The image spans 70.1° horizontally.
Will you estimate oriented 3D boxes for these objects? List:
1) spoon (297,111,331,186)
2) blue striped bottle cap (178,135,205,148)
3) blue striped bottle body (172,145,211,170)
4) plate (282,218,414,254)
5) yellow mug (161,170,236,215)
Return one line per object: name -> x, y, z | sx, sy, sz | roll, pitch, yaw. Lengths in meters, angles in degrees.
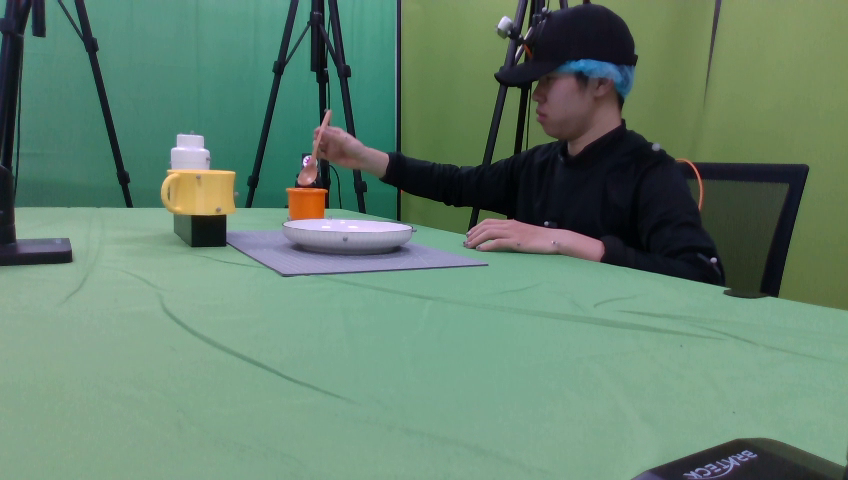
spoon -> -0.240, -0.207, 1.351 | 0.041, 0.193, 0.022 | 10, -15, 21
blue striped bottle cap -> -0.405, -0.171, 1.053 | 0.044, 0.020, 0.044 | 3, 10, 0
blue striped bottle body -> -0.407, -0.120, 1.059 | 0.063, 0.120, 0.063 | 3, 8, 0
plate -> -0.121, -0.007, 0.971 | 0.208, 0.039, 0.207 | 2, 7, 0
yellow mug -> -0.354, -0.074, 0.935 | 0.099, 0.064, 0.131 | 5, 9, 21
